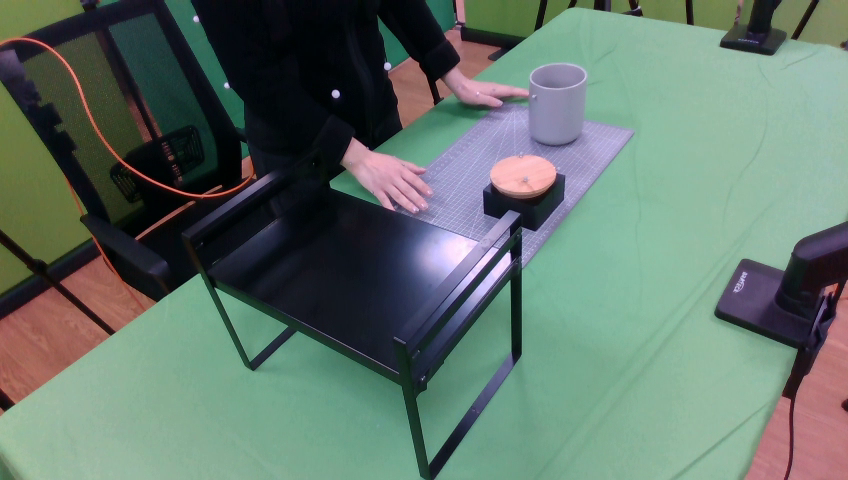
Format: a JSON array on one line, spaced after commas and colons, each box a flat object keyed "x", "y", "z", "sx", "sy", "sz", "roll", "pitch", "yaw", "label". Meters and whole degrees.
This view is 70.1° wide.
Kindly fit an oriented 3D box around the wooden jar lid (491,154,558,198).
[{"x": 0.164, "y": -0.104, "z": 0.994, "sx": 0.108, "sy": 0.021, "sz": 0.108, "roll": -4, "pitch": 40, "yaw": 4, "label": "wooden jar lid"}]

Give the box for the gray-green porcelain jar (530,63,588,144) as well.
[{"x": 0.254, "y": -0.255, "z": 1.151, "sx": 0.106, "sy": 0.127, "sz": 0.105, "roll": -4, "pitch": 41, "yaw": 4, "label": "gray-green porcelain jar"}]
